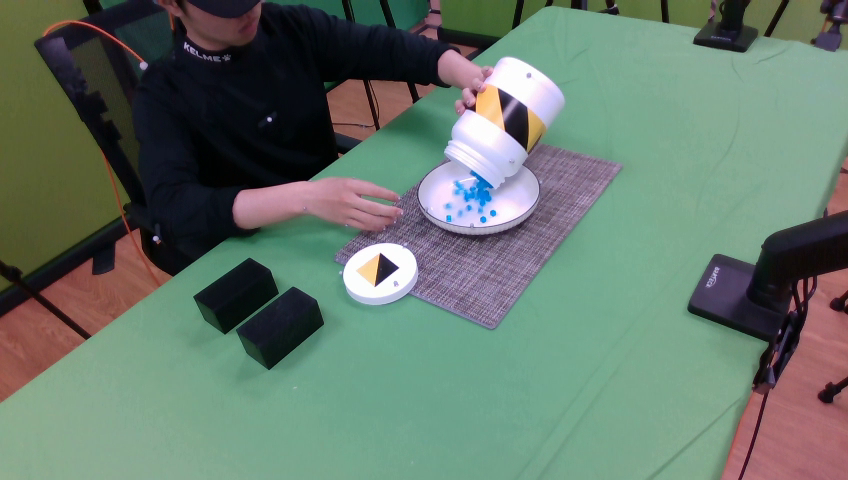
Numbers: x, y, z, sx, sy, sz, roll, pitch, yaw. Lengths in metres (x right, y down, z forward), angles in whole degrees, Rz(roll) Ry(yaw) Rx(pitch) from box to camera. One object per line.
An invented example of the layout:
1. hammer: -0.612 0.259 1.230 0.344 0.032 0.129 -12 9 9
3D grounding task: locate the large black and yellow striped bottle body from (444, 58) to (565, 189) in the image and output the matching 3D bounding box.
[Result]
1. large black and yellow striped bottle body: 0.128 -0.188 0.993 0.129 0.132 0.184 38 94 40

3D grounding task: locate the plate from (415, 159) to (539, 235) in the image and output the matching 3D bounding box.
1. plate: 0.090 -0.074 1.025 0.207 0.039 0.206 -4 41 4

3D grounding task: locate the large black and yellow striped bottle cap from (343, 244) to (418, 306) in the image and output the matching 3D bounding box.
1. large black and yellow striped bottle cap: -0.066 0.051 0.918 0.115 0.019 0.114 -6 43 6
